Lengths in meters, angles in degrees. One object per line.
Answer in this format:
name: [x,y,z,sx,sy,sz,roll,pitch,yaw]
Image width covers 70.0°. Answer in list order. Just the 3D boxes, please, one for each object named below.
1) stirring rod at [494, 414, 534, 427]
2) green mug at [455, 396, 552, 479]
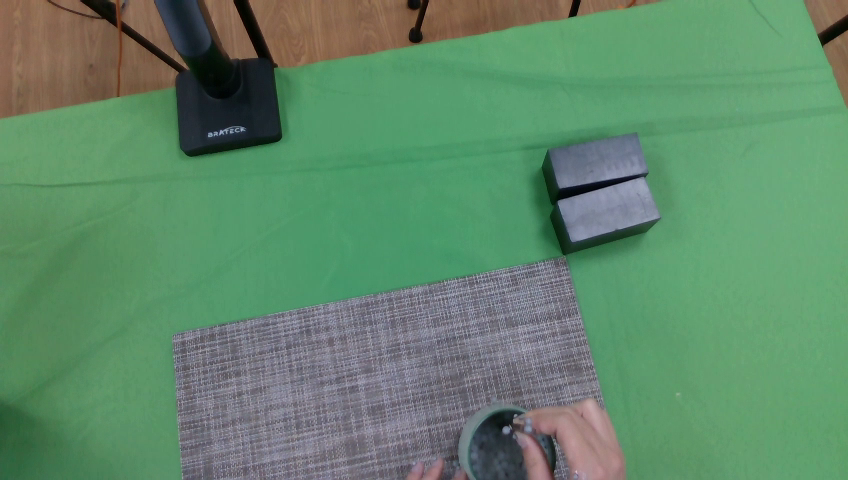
stirring rod: [0.076,0.157,0.530,0.014,0.177,0.006,15,75,5]
green mug: [0.084,0.210,0.580,0.092,0.105,0.124,-28,75,-6]
